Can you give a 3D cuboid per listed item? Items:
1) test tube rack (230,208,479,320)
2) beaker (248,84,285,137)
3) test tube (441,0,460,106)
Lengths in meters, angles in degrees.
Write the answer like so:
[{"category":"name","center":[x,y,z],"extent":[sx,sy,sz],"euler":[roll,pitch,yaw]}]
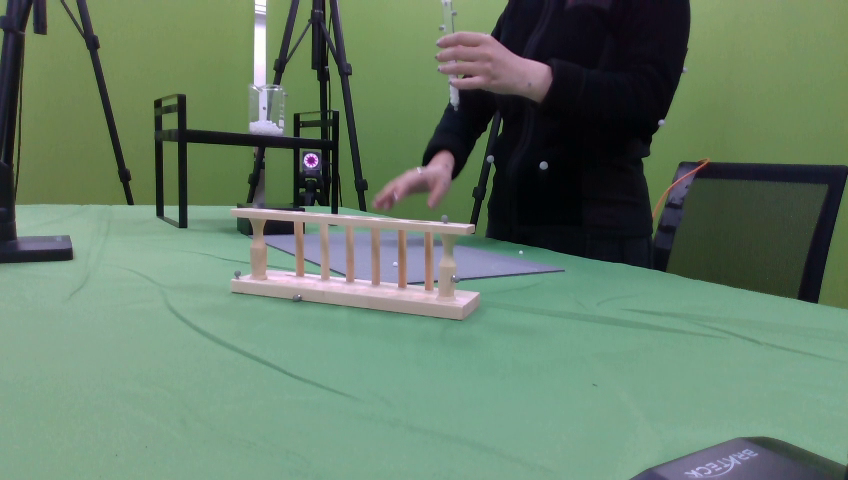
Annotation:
[{"category":"test tube rack","center":[-0.069,0.017,0.598],"extent":[0.242,0.085,0.067],"euler":[5,8,18]},{"category":"beaker","center":[-0.321,-0.261,1.225],"extent":[0.074,0.100,0.084],"euler":[3,8,3]},{"category":"test tube","center":[0.040,-0.275,0.896],"extent":[0.017,0.150,0.017],"euler":[-5,13,2]}]
